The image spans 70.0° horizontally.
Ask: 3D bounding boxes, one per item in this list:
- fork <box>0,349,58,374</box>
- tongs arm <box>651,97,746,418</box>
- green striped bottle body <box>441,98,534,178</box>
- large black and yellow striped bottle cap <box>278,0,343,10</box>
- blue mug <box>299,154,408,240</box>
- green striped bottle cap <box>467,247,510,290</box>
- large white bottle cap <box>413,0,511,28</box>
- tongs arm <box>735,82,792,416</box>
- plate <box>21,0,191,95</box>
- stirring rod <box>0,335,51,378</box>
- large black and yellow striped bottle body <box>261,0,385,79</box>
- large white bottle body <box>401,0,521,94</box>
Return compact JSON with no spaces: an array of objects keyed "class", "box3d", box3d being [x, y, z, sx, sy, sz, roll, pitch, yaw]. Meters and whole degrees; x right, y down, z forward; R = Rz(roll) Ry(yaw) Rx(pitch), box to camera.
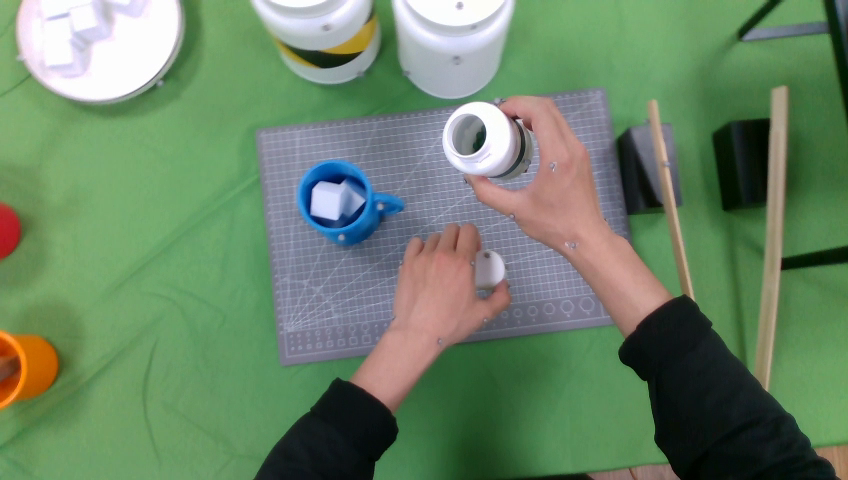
[{"class":"fork","box3d":[-0.522,0.128,0.666,0.209,0.018,0.028,17,79,-42]},{"class":"tongs arm","box3d":[0.318,0.024,0.702,0.051,0.026,0.385,-11,96,-4]},{"class":"green striped bottle body","box3d":[0.057,-0.092,0.554,0.063,0.119,0.063,1,92,23]},{"class":"large black and yellow striped bottle cap","box3d":[-0.116,-0.290,0.611,0.115,0.019,0.114,0,85,-1]},{"class":"blue mug","box3d":[-0.077,-0.047,0.706,0.116,0.106,0.082,1,83,0]},{"class":"green striped bottle cap","box3d":[0.069,0.030,0.647,0.044,0.020,0.044,-5,68,14]},{"class":"large white bottle cap","box3d":[0.038,-0.270,0.608,0.115,0.018,0.114,0,84,-1]},{"class":"tongs arm","box3d":[0.400,0.015,0.706,0.028,0.027,0.388,2,95,-8]},{"class":"plate","box3d":[-0.395,-0.280,0.766,0.208,0.039,0.207,0,84,0]},{"class":"stirring rod","box3d":[-0.494,0.163,0.669,0.014,0.006,0.175,40,43,1]},{"class":"large black and yellow striped bottle body","box3d":[-0.115,-0.278,0.693,0.131,0.184,0.130,0,83,0]},{"class":"large white bottle body","box3d":[0.039,-0.259,0.692,0.130,0.185,0.130,0,83,0]}]
